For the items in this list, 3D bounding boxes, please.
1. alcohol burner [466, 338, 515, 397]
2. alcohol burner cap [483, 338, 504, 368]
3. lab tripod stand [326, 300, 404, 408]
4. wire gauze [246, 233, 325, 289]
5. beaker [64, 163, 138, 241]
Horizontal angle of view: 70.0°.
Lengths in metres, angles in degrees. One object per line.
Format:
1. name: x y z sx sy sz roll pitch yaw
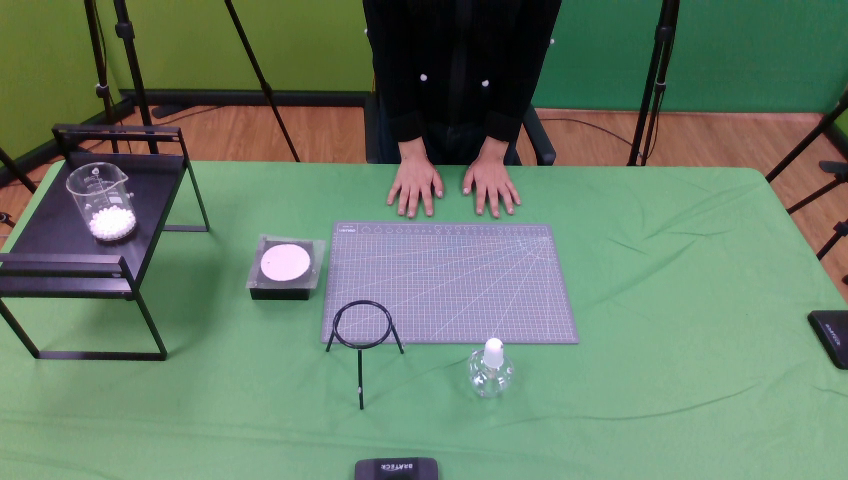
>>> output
1. alcohol burner: 0.106 0.194 0.952 0.078 0.120 0.077 1 45 0
2. alcohol burner cap: 0.108 0.169 0.928 0.034 0.048 0.033 0 41 0
3. lab tripod stand: -0.099 0.167 0.950 0.148 0.132 0.147 1 47 -1
4. wire gauze: -0.245 0.038 1.082 0.121 0.011 0.124 5 47 -3
5. beaker: -0.478 -0.055 0.910 0.084 0.101 0.073 -9 48 -13
